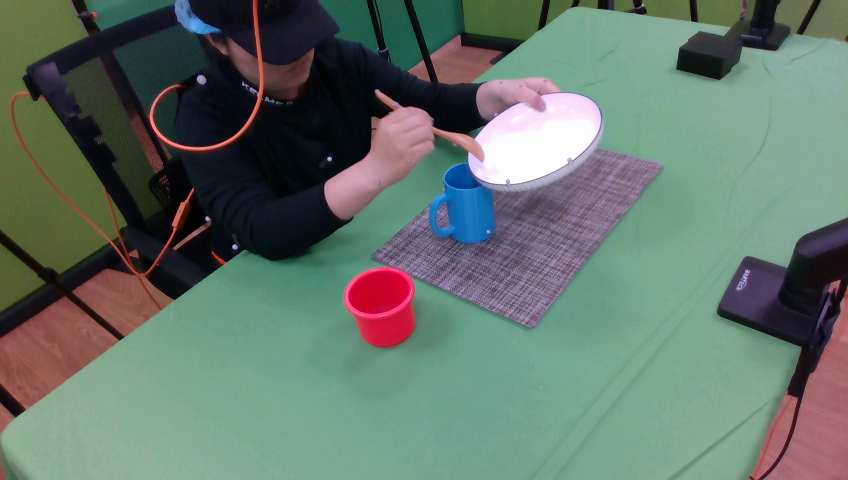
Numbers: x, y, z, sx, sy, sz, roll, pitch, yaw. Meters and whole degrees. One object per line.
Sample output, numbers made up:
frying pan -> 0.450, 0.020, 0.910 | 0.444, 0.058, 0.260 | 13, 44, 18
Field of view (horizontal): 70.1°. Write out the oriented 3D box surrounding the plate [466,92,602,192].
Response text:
plate -> 0.166, -0.142, 0.910 | 0.207, 0.039, 0.206 | -19, 40, 17

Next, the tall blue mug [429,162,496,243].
tall blue mug -> 0.067, -0.051, 0.960 | 0.077, 0.108, 0.107 | 17, 47, 27

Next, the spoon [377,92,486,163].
spoon -> 0.015, -0.162, 0.877 | 0.195, 0.021, 0.041 | 22, 39, -22
